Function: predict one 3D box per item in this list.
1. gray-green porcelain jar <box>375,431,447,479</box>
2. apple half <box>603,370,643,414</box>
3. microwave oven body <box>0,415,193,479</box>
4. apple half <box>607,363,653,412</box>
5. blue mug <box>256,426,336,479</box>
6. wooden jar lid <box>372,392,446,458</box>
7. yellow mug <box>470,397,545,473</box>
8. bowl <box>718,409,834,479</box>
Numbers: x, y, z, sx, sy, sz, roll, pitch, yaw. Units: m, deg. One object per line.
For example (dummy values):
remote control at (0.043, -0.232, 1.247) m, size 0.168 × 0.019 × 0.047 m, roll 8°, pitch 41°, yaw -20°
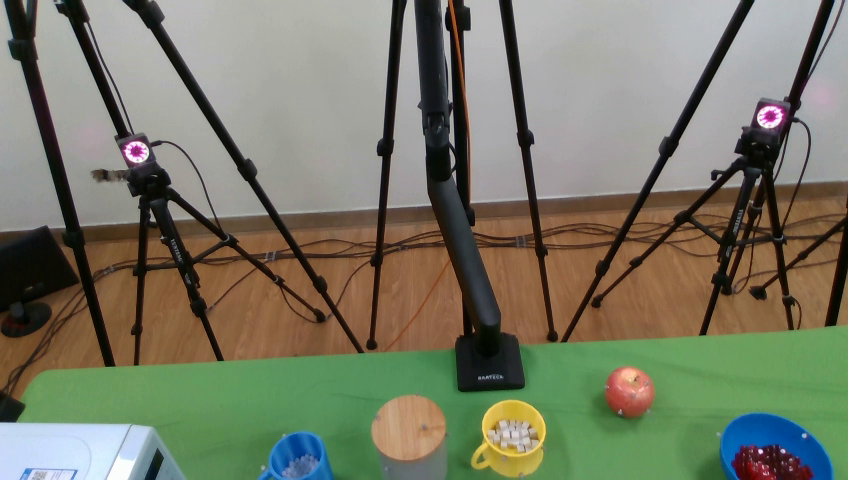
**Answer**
gray-green porcelain jar at (-0.018, 0.319, 0.927) m, size 0.106 × 0.127 × 0.105 m, roll -2°, pitch 41°, yaw 2°
apple half at (0.321, 0.260, 1.003) m, size 0.033 × 0.082 × 0.080 m, roll -23°, pitch 44°, yaw -26°
microwave oven body at (-0.505, 0.459, 0.700) m, size 0.326 × 0.262 × 0.437 m, roll 0°, pitch 42°, yaw 4°
apple half at (0.352, 0.245, 1.020) m, size 0.053 × 0.075 × 0.080 m, roll -22°, pitch 40°, yaw -26°
blue mug at (-0.197, 0.354, 0.918) m, size 0.117 × 0.107 × 0.081 m, roll -20°, pitch 44°, yaw -17°
wooden jar lid at (-0.022, 0.272, 0.885) m, size 0.108 × 0.021 × 0.107 m, roll -3°, pitch 39°, yaw 3°
yellow mug at (0.128, 0.317, 0.963) m, size 0.131 × 0.064 × 0.099 m, roll -25°, pitch 45°, yaw -21°
bowl at (0.508, 0.336, 0.897) m, size 0.151 × 0.077 × 0.150 m, roll -3°, pitch 41°, yaw 3°
